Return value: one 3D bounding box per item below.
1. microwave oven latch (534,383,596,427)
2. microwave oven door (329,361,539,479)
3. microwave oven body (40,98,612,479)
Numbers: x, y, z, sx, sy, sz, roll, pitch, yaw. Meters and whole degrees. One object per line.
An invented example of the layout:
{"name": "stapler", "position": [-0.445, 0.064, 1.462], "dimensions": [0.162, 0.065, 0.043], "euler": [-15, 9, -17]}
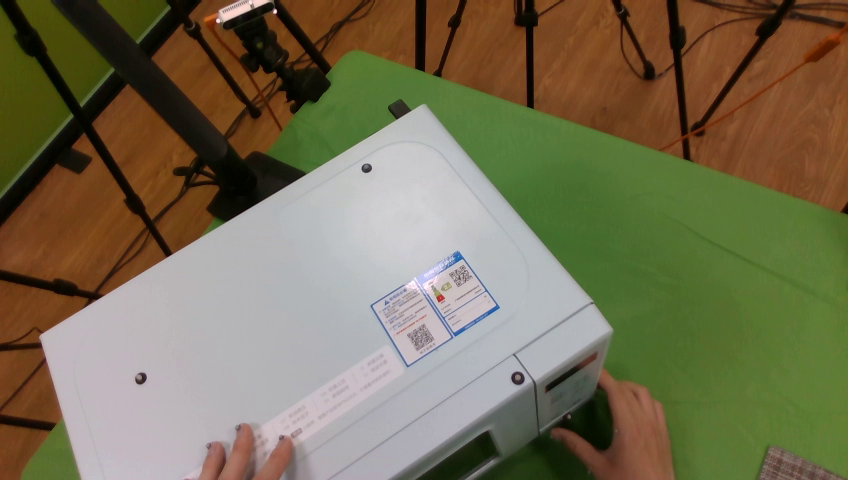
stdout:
{"name": "microwave oven latch", "position": [0.154, 0.175, 0.676], "dimensions": [0.079, 0.030, 0.030], "euler": [-31, 62, -5]}
{"name": "microwave oven door", "position": [-0.050, 0.246, 0.564], "dimensions": [0.356, 0.246, 0.039], "euler": [-33, 61, -6]}
{"name": "microwave oven body", "position": [-0.089, 0.121, 0.640], "dimensions": [0.442, 0.262, 0.323], "euler": [-33, 63, -6]}
